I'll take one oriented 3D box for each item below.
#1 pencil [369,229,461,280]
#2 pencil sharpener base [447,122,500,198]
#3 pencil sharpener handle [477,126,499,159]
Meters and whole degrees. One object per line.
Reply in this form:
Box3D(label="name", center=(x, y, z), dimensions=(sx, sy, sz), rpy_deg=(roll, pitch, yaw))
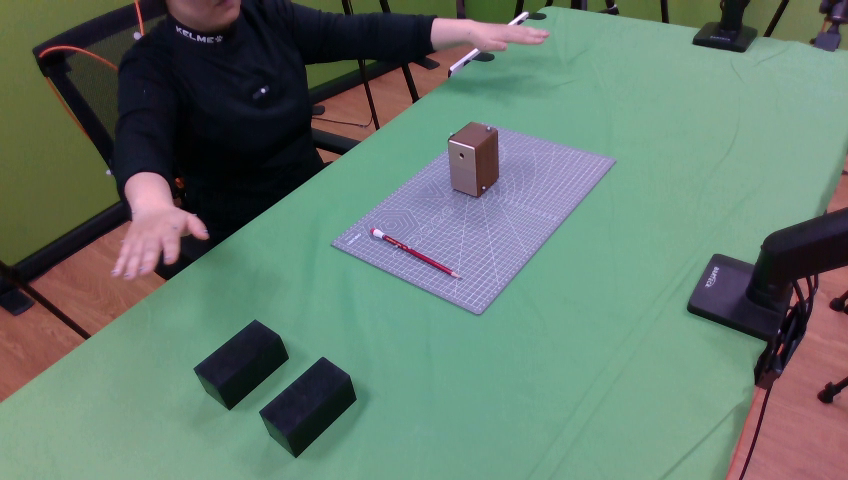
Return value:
Box3D(label="pencil", center=(-0.016, 0.022, 0.952), dimensions=(0.192, 0.012, 0.012), rpy_deg=(27, 51, 33))
Box3D(label="pencil sharpener base", center=(0.089, -0.140, 1.052), dimensions=(0.061, 0.107, 0.077), rpy_deg=(22, 48, 31))
Box3D(label="pencil sharpener handle", center=(0.119, -0.178, 1.073), dimensions=(0.035, 0.068, 0.031), rpy_deg=(20, 47, 33))
